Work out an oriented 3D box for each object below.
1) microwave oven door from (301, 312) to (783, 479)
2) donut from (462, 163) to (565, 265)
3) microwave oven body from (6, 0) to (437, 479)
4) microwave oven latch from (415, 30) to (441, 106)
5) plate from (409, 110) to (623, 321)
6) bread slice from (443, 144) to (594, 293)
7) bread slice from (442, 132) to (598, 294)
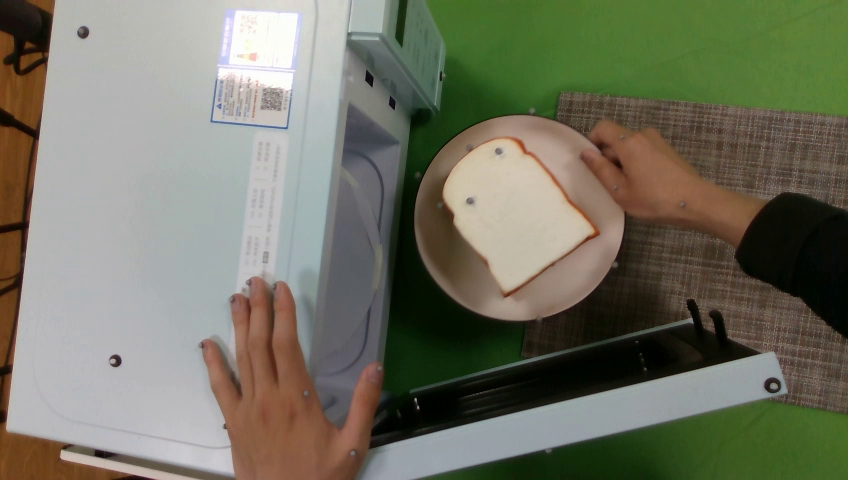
[{"bbox_3d":[0.096,0.140,0.548,0.355,0.244,0.039,-18,84,11],"label":"microwave oven door"},{"bbox_3d":[0.085,-0.025,0.576,0.099,0.048,0.099,0,85,-4],"label":"donut"},{"bbox_3d":[-0.181,-0.035,0.613,0.325,0.261,0.441,6,91,11],"label":"microwave oven body"},{"bbox_3d":[0.002,-0.192,0.677,0.030,0.029,0.079,7,91,11],"label":"microwave oven latch"},{"bbox_3d":[0.090,-0.023,0.609,0.207,0.039,0.207,0,90,9],"label":"plate"},{"bbox_3d":[0.085,-0.028,0.611,0.107,0.018,0.134,-43,83,6],"label":"bread slice"},{"bbox_3d":[0.076,-0.030,0.553,0.105,0.019,0.131,-38,81,13],"label":"bread slice"}]
